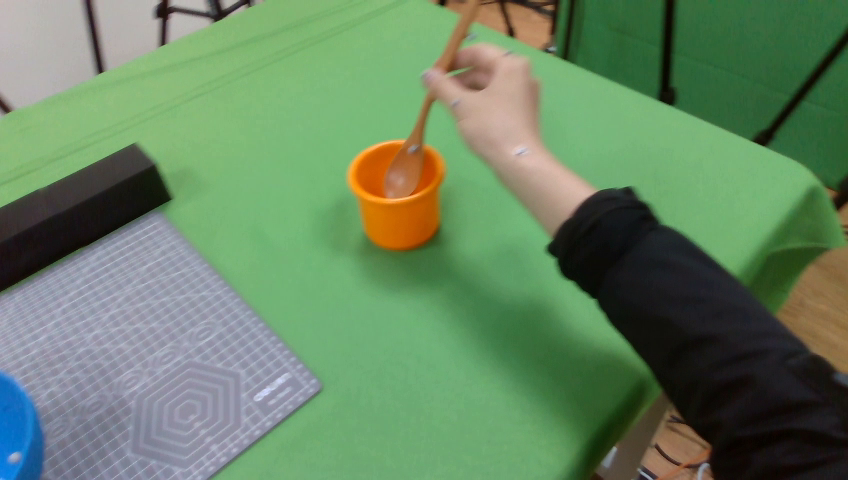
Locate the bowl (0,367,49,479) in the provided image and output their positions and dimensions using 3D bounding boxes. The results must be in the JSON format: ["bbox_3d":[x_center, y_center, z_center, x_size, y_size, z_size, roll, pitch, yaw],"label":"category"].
[{"bbox_3d":[-0.324,0.168,0.413,0.151,0.077,0.150,-2,48,2],"label":"bowl"}]

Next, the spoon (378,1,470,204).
[{"bbox_3d":[0.000,-0.116,0.539,0.041,0.195,0.022,41,37,26],"label":"spoon"}]
